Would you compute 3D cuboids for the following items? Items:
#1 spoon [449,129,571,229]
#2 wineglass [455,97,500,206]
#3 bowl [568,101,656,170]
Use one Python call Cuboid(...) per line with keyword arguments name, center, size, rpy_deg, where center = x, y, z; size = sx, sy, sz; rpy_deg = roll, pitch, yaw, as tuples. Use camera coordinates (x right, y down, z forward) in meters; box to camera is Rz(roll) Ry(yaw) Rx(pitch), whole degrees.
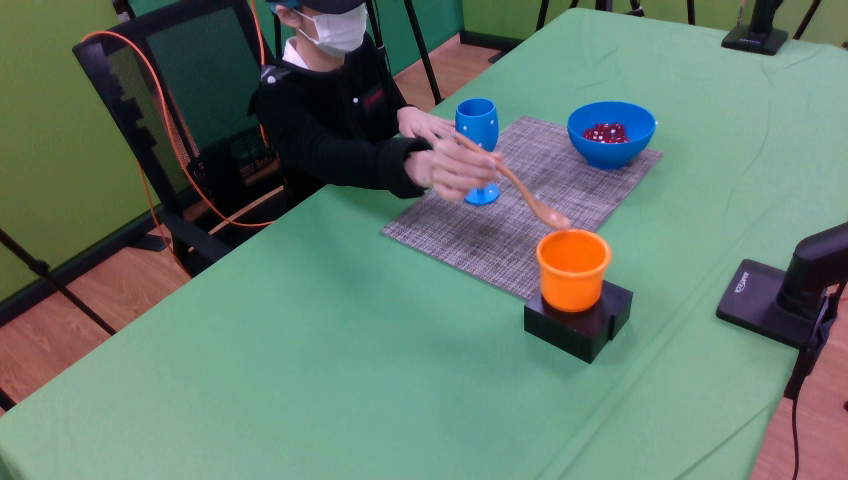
Cuboid(name="spoon", center=(0.107, -0.075, 0.740), size=(0.021, 0.194, 0.041), rpy_deg=(-41, 15, 31))
Cuboid(name="wineglass", center=(0.092, -0.145, 1.009), size=(0.074, 0.173, 0.073), rpy_deg=(-5, 40, 4))
Cuboid(name="bowl", center=(0.332, -0.179, 1.084), size=(0.151, 0.077, 0.150), rpy_deg=(-4, 40, 4))
